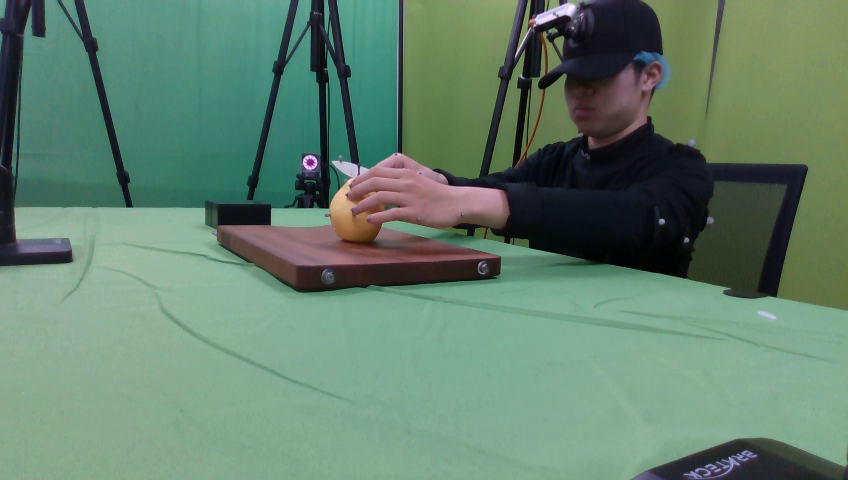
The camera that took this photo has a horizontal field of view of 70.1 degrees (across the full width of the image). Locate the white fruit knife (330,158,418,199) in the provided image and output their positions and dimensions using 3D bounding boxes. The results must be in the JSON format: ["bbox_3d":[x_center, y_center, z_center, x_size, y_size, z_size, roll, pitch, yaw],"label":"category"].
[{"bbox_3d":[-0.069,-0.093,0.894,0.016,0.027,0.208,-4,-9,32],"label":"white fruit knife"}]

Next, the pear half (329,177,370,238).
[{"bbox_3d":[-0.112,-0.047,0.864,0.031,0.088,0.071,9,12,38],"label":"pear half"}]

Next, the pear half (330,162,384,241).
[{"bbox_3d":[-0.086,-0.053,0.839,0.055,0.110,0.077,12,16,39],"label":"pear half"}]
